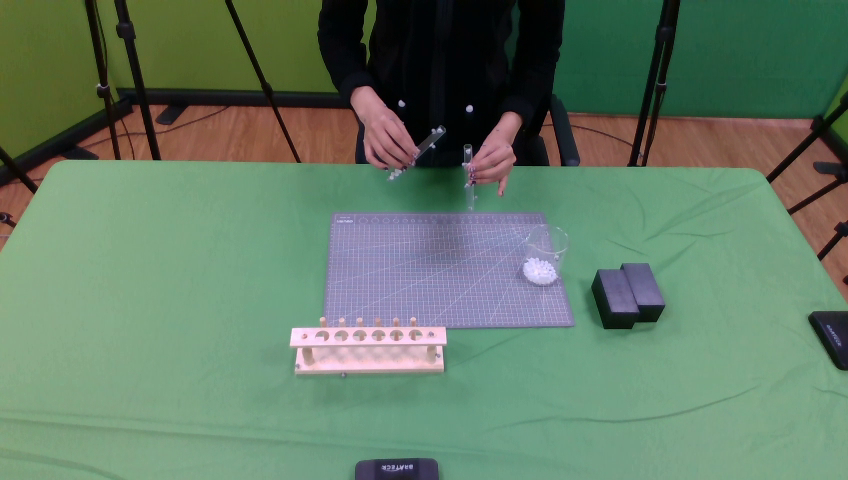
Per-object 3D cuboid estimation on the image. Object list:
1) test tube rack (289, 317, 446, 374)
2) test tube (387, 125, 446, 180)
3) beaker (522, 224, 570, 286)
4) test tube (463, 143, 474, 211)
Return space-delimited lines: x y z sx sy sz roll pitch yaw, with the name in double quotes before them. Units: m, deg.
"test tube rack" -0.089 0.167 0.988 0.242 0.085 0.066 0 46 -4
"test tube" -0.015 -0.155 1.089 0.017 0.150 0.017 32 37 -27
"beaker" 0.221 0.032 1.129 0.084 0.101 0.073 -6 46 -9
"test tube" 0.083 -0.114 1.128 0.017 0.151 0.017 -3 42 3
